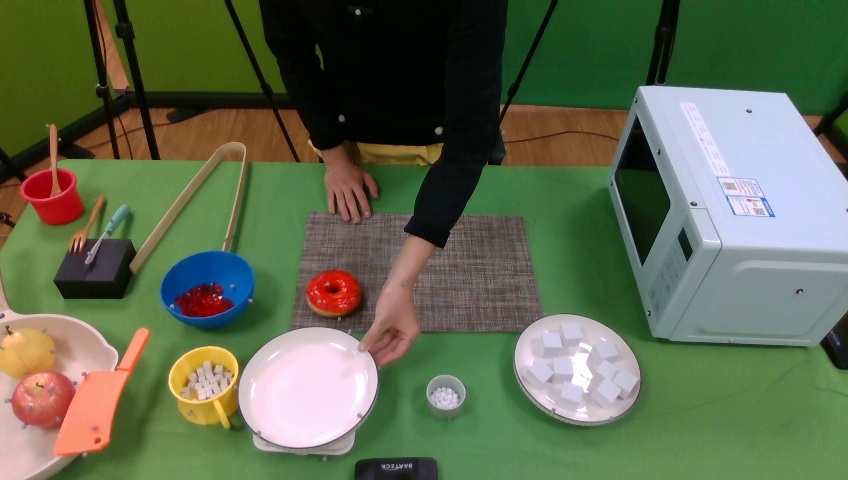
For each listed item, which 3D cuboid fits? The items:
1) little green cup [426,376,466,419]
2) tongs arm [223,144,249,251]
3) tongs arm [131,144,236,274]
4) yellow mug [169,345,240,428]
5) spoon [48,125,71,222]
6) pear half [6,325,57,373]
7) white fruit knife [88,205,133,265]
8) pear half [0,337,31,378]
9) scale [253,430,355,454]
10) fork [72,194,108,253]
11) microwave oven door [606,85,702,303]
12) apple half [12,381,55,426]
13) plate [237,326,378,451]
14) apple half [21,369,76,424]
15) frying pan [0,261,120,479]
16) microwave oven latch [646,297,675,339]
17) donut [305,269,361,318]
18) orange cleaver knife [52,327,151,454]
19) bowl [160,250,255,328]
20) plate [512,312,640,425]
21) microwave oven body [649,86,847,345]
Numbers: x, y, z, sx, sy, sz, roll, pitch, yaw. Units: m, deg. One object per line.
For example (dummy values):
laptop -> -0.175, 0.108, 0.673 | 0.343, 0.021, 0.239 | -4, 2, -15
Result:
little green cup -> 0.033, 0.248, 0.950 | 0.061, 0.039, 0.061 | 2, 46, -2
tongs arm -> -0.397, -0.073, 1.232 | 0.051, 0.026, 0.382 | -2, 45, 0
tongs arm -> -0.483, -0.077, 1.235 | 0.028, 0.028, 0.385 | 6, 45, 13
yellow mug -> -0.322, 0.230, 0.922 | 0.100, 0.064, 0.130 | -24, 53, -25
spoon -> -0.718, -0.131, 1.188 | 0.041, 0.021, 0.193 | -3, 90, -7
pear half -> -0.607, 0.158, 0.935 | 0.076, 0.110, 0.056 | 30, 51, 19
white fruit knife -> -0.584, -0.013, 1.129 | 0.016, 0.027, 0.206 | 0, 31, -5
pear half -> -0.631, 0.183, 0.923 | 0.070, 0.088, 0.031 | 28, 50, 15
scale -> -0.175, 0.236, 0.951 | 0.149, 0.032, 0.199 | 4, 45, 0
fork -> -0.634, -0.035, 1.158 | 0.028, 0.019, 0.206 | -8, 32, -8
microwave oven door -> 0.422, -0.094, 1.140 | 0.039, 0.245, 0.353 | 2, 46, -1
apple half -> -0.570, 0.246, 0.875 | 0.081, 0.081, 0.033 | 32, 49, 25
plate -> -0.174, 0.224, 0.917 | 0.209, 0.038, 0.208 | 2, 46, -2
apple half -> -0.546, 0.226, 0.898 | 0.080, 0.075, 0.053 | 30, 48, 27
frying pan -> -0.647, 0.164, 0.936 | 0.307, 0.103, 0.485 | -19, 58, -22
microwave oven latch -> 0.412, 0.134, 1.061 | 0.030, 0.029, 0.078 | 4, 45, 1
donut -> -0.161, 0.095, 1.075 | 0.099, 0.048, 0.098 | 4, 45, -4
orange cleaver knife -> -0.462, 0.212, 0.879 | 0.077, 0.012, 0.210 | 6, 45, -1
bowl -> -0.362, 0.098, 1.040 | 0.151, 0.077, 0.150 | 2, 45, -2
plate -> 0.246, 0.213, 0.999 | 0.208, 0.039, 0.206 | 2, 46, -2
microwave oven body -> 0.567, -0.053, 1.118 | 0.326, 0.261, 0.439 | 2, 45, -1
